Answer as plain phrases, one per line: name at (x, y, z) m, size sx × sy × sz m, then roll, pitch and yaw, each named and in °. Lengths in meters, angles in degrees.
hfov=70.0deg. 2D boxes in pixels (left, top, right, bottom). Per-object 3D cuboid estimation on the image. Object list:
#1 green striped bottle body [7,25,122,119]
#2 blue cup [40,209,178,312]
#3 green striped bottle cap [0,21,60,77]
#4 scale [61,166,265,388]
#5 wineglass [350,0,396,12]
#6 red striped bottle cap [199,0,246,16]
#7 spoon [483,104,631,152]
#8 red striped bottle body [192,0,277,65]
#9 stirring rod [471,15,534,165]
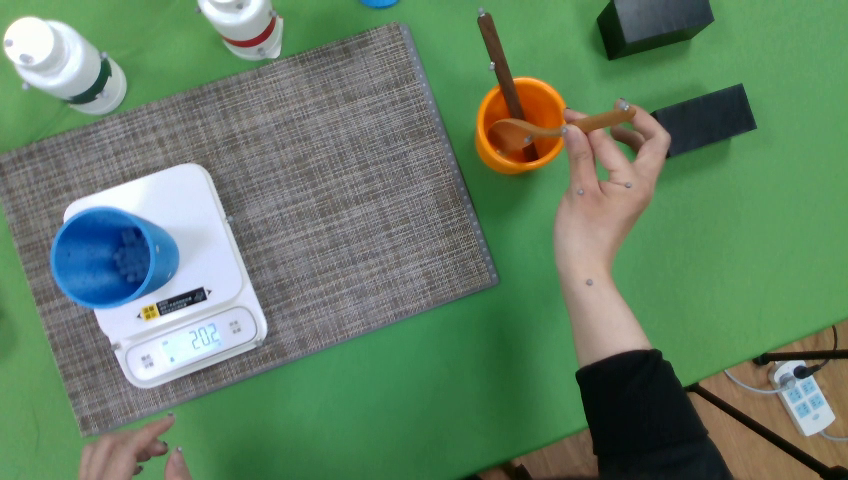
green striped bottle body at (-0.343, -0.160, 0.575) m, size 0.063 × 0.119 × 0.063 m, roll 0°, pitch 87°, yaw -4°
blue cup at (-0.269, 0.018, 0.548) m, size 0.093 × 0.100 × 0.092 m, roll 0°, pitch 89°, yaw -4°
green striped bottle cap at (-0.340, -0.164, 0.520) m, size 0.044 × 0.020 × 0.044 m, roll 0°, pitch 87°, yaw -2°
scale at (-0.262, 0.037, 0.613) m, size 0.149 × 0.031 × 0.201 m, roll -21°, pitch 90°, yaw -4°
wineglass at (-0.052, -0.285, 0.574) m, size 0.074 × 0.172 × 0.073 m, roll 0°, pitch 87°, yaw -3°
red striped bottle cap at (-0.181, -0.223, 0.536) m, size 0.044 × 0.018 × 0.044 m, roll 0°, pitch 85°, yaw -3°
spoon at (0.111, -0.097, 0.536) m, size 0.042 × 0.192 × 0.021 m, roll 39°, pitch 79°, yaw -22°
red striped bottle body at (-0.184, -0.220, 0.589) m, size 0.063 × 0.119 × 0.063 m, roll 0°, pitch 87°, yaw -4°
stirring rod at (0.080, -0.141, 0.595) m, size 0.014 × 0.005 × 0.178 m, roll -34°, pitch 132°, yaw -3°
